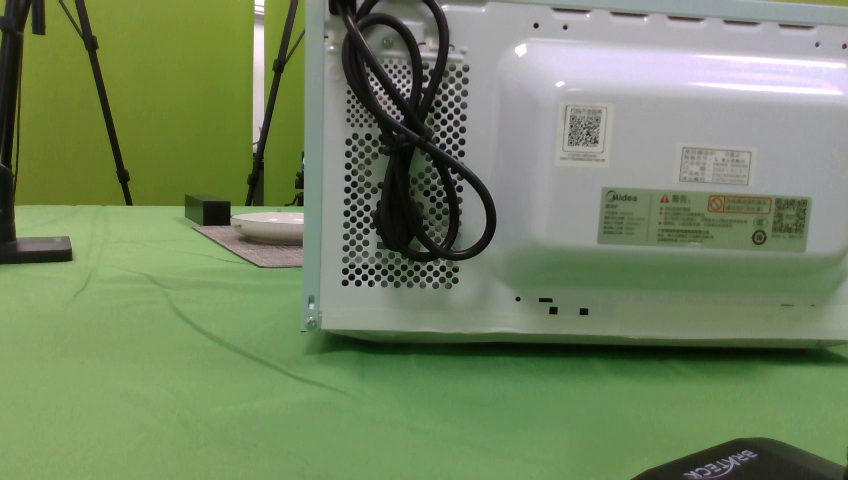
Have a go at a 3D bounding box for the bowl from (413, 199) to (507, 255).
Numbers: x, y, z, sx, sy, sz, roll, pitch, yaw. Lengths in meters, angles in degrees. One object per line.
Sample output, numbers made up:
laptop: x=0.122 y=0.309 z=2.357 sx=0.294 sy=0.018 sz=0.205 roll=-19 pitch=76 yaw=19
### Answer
bowl: x=0.056 y=-0.020 z=0.976 sx=0.151 sy=0.077 sz=0.151 roll=2 pitch=10 yaw=0

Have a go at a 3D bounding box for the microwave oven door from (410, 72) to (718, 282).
microwave oven door: x=0.161 y=-0.084 z=0.753 sx=0.355 sy=0.243 sz=0.039 roll=4 pitch=8 yaw=14

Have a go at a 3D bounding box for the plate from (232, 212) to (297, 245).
plate: x=-0.214 y=-0.019 z=1.018 sx=0.208 sy=0.039 sz=0.207 roll=3 pitch=7 yaw=0

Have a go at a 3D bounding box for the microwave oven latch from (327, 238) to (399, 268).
microwave oven latch: x=-0.069 y=0.015 z=0.694 sx=0.079 sy=0.029 sz=0.030 roll=3 pitch=7 yaw=-3

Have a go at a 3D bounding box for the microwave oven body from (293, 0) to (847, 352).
microwave oven body: x=0.122 y=-0.055 z=0.550 sx=0.442 sy=0.260 sz=0.325 roll=3 pitch=7 yaw=-5
